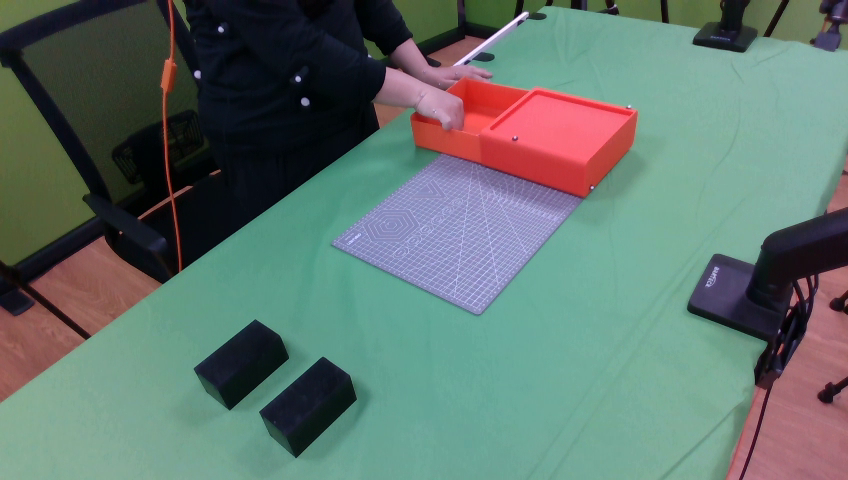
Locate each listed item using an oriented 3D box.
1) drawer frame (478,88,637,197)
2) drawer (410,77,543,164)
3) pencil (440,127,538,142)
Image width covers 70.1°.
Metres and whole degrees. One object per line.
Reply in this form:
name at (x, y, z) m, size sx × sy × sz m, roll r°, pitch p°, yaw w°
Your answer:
drawer frame at (0.243, -0.185, 1.100) m, size 0.212 × 0.083 × 0.202 m, roll 23°, pitch 48°, yaw 31°
drawer at (0.113, -0.235, 1.187) m, size 0.210 × 0.073 × 0.195 m, roll 21°, pitch 47°, yaw 32°
pencil at (0.126, -0.206, 1.192) m, size 0.194 × 0.012 × 0.012 m, roll -5°, pitch 40°, yaw 10°
